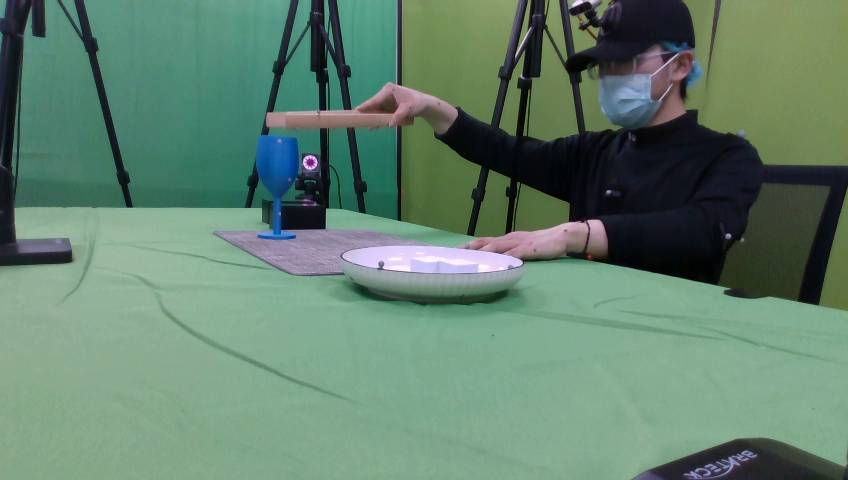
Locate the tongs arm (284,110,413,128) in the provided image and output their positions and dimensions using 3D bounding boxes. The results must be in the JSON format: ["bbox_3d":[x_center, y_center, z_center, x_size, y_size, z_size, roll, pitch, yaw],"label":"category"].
[{"bbox_3d":[-0.135,-0.237,1.172,0.050,0.026,0.387,16,19,34],"label":"tongs arm"}]

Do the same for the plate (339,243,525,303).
[{"bbox_3d":[0.008,0.035,0.682,0.209,0.038,0.209,3,7,0],"label":"plate"}]

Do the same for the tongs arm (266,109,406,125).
[{"bbox_3d":[-0.158,-0.243,1.185,0.028,0.028,0.389,10,16,32],"label":"tongs arm"}]

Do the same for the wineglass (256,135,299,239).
[{"bbox_3d":[-0.252,-0.091,1.035,0.074,0.172,0.073,2,7,0],"label":"wineglass"}]
